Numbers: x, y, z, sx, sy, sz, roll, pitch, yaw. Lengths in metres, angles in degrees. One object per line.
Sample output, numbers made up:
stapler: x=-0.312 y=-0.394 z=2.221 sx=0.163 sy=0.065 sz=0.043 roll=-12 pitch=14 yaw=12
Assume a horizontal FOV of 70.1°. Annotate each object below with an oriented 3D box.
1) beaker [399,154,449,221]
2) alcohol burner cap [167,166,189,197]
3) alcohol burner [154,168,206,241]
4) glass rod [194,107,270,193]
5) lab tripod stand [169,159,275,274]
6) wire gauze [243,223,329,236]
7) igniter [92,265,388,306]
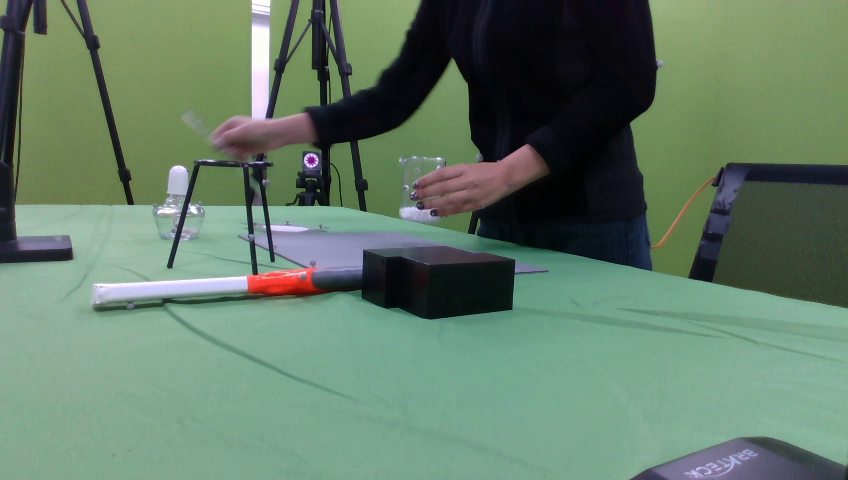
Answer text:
beaker: x=-0.004 y=-0.083 z=0.945 sx=0.084 sy=0.100 sz=0.073 roll=-5 pitch=12 yaw=-34
alcohol burner cap: x=-0.392 y=-0.095 z=0.970 sx=0.034 sy=0.048 sz=0.034 roll=8 pitch=8 yaw=-1
alcohol burner: x=-0.394 y=-0.059 z=0.974 sx=0.078 sy=0.119 sz=0.078 roll=1 pitch=8 yaw=0
glass rod: x=-0.346 y=-0.162 z=1.090 sx=0.008 sy=0.200 sz=0.008 roll=-40 pitch=6 yaw=5
lab tripod stand: x=-0.230 y=-0.030 z=0.724 sx=0.148 sy=0.131 sz=0.148 roll=1 pitch=9 yaw=0
wire gauze: x=-0.266 y=-0.024 z=1.156 sx=0.124 sy=0.011 sz=0.122 roll=12 pitch=12 yaw=40
igniter: x=-0.164 y=0.042 z=0.589 sx=0.278 sy=0.025 sz=0.057 roll=-2 pitch=-6 yaw=-31
